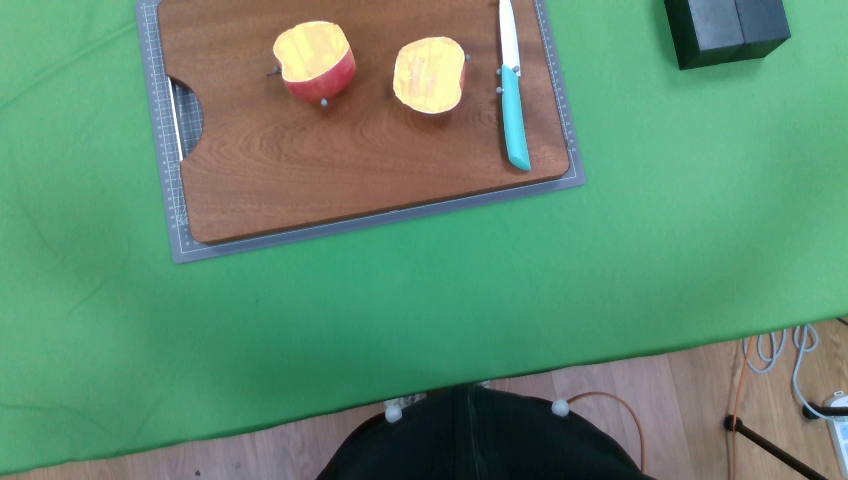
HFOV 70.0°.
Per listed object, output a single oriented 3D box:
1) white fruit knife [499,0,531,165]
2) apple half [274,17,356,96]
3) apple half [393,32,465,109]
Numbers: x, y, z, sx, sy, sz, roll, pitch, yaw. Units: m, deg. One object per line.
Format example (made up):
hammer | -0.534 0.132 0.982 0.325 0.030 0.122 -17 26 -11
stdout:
white fruit knife | 0.092 -0.181 0.641 0.027 0.016 0.206 0 81 -30
apple half | -0.106 -0.180 0.614 0.074 0.054 0.080 -29 61 -2
apple half | 0.007 -0.174 0.629 0.081 0.033 0.081 1 94 11
